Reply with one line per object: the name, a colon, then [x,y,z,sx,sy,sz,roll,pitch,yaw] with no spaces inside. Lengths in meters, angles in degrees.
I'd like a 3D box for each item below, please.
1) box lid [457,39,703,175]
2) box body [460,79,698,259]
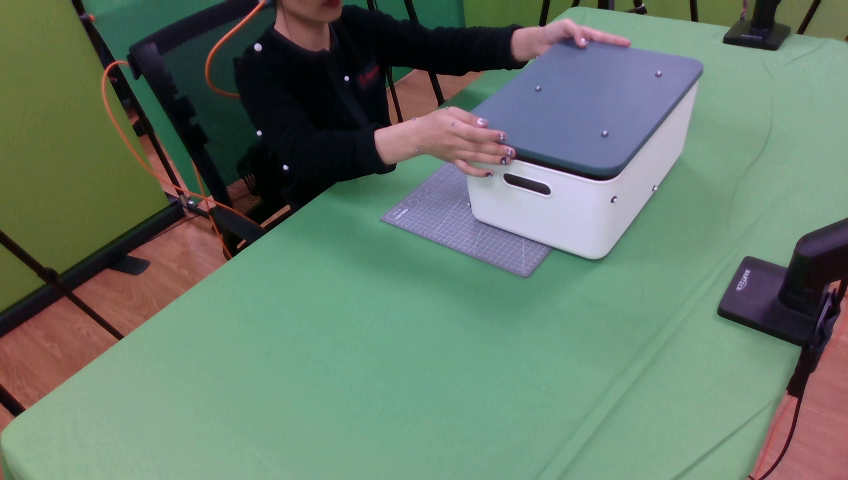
box lid: [0.251,-0.225,0.943,0.261,0.015,0.372,22,48,30]
box body: [0.261,-0.153,1.001,0.252,0.161,0.365,21,48,31]
